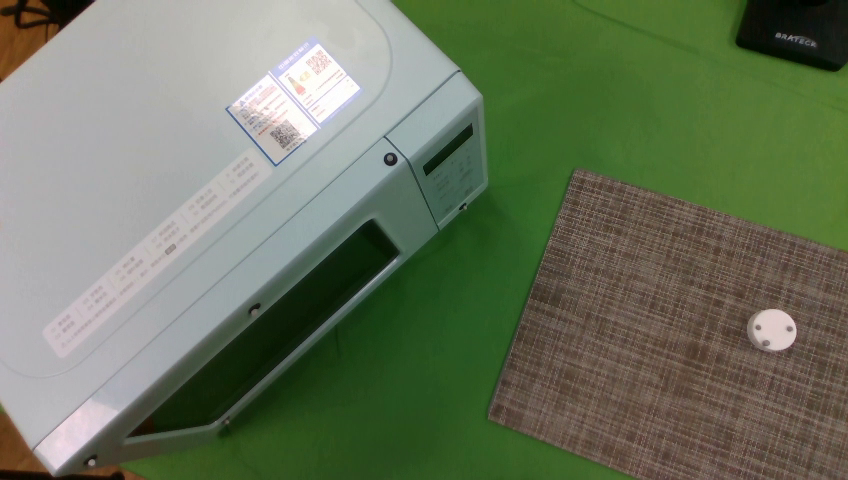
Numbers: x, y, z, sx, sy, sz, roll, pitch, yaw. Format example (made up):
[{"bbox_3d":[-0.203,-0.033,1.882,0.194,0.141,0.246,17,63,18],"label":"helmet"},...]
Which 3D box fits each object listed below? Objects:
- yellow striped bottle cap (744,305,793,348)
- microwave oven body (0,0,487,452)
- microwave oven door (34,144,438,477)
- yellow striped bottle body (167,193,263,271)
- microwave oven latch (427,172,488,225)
[{"bbox_3d":[0.362,0.091,0.636,0.044,0.019,0.044,-2,78,8],"label":"yellow striped bottle cap"},{"bbox_3d":[-0.205,-0.059,0.609,0.441,0.261,0.324,-43,77,-2],"label":"microwave oven body"},{"bbox_3d":[-0.140,0.072,0.570,0.355,0.245,0.039,-43,76,-3],"label":"microwave oven door"},{"bbox_3d":[-0.211,-0.008,0.607,0.063,0.121,0.062,-1,78,4],"label":"yellow striped bottle body"},{"bbox_3d":[0.036,-0.053,0.679,0.079,0.029,0.030,-41,77,-2],"label":"microwave oven latch"}]
